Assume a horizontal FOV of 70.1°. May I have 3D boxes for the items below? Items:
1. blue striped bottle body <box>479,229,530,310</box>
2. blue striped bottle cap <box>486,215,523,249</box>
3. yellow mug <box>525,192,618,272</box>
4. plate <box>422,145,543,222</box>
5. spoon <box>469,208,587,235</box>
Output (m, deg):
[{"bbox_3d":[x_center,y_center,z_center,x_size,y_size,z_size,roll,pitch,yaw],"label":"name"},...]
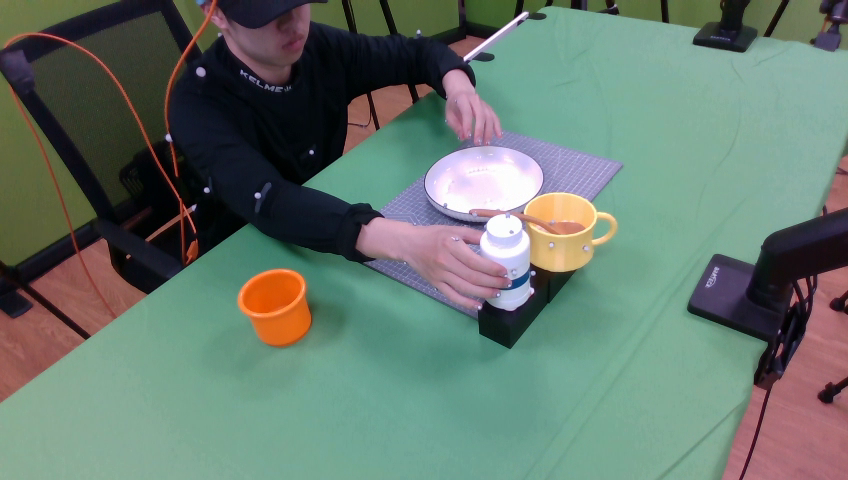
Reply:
[{"bbox_3d":[0.103,0.027,0.767,0.063,0.121,0.063,-5,41,5],"label":"blue striped bottle body"},{"bbox_3d":[0.097,-0.011,0.732,0.044,0.021,0.044,-3,40,3],"label":"blue striped bottle cap"},{"bbox_3d":[0.206,-0.014,0.845,0.131,0.064,0.099,-4,41,2],"label":"yellow mug"},{"bbox_3d":[0.101,-0.094,1.048,0.207,0.039,0.206,-4,41,4],"label":"plate"},{"bbox_3d":[0.143,-0.026,0.817,0.195,0.021,0.041,12,36,-29],"label":"spoon"}]
